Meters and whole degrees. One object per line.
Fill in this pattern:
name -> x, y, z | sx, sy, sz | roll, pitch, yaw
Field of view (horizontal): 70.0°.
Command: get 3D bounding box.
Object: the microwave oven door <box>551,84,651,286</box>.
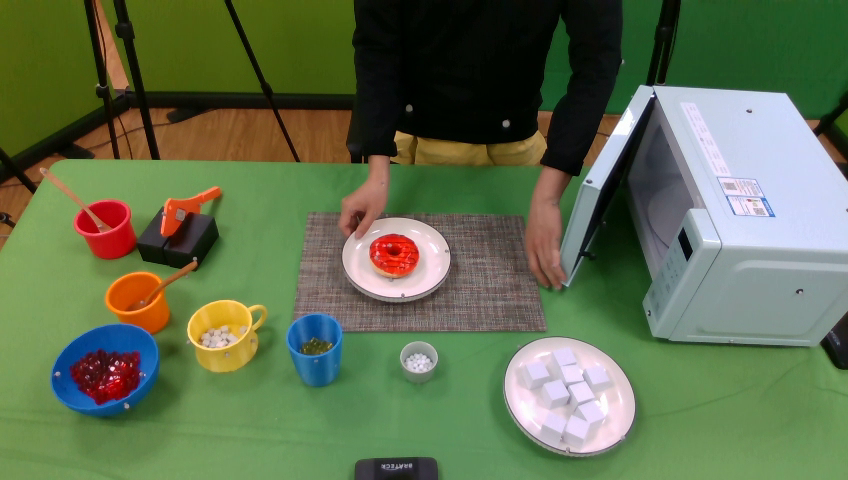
microwave oven door -> 0.343, -0.112, 1.153 | 0.039, 0.245, 0.355 | 24, 49, 18

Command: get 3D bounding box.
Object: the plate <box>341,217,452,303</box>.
plate -> -0.052, 0.039, 1.140 | 0.209, 0.038, 0.208 | 2, 46, -2

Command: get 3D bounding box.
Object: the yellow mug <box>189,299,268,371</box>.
yellow mug -> -0.316, 0.148, 1.002 | 0.131, 0.064, 0.099 | -32, 56, -31

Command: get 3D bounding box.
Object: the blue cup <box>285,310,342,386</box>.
blue cup -> -0.170, 0.179, 0.958 | 0.093, 0.101, 0.092 | 2, 44, -1

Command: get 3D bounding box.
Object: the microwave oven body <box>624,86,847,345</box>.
microwave oven body -> 0.568, -0.053, 1.118 | 0.326, 0.261, 0.439 | 2, 45, -1

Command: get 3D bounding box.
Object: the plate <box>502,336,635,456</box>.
plate -> 0.225, 0.248, 0.963 | 0.208, 0.039, 0.206 | 2, 46, -2

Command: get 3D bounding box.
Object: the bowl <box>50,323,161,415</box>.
bowl -> -0.472, 0.209, 0.924 | 0.151, 0.077, 0.150 | 2, 45, -2

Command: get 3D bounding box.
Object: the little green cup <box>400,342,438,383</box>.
little green cup -> -0.009, 0.202, 0.991 | 0.061, 0.039, 0.061 | 2, 47, -2

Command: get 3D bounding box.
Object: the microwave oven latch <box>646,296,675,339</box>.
microwave oven latch -> 0.412, 0.134, 1.061 | 0.030, 0.029, 0.078 | 4, 45, 1

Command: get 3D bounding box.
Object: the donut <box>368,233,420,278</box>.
donut -> -0.056, 0.030, 1.133 | 0.099, 0.048, 0.098 | 4, 46, -4

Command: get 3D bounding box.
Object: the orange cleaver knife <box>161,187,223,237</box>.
orange cleaver knife -> -0.448, -0.058, 1.181 | 0.012, 0.077, 0.211 | 13, 17, 6

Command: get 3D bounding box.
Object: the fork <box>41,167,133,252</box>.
fork -> -0.624, -0.056, 1.121 | 0.208, 0.018, 0.028 | 49, 52, -15

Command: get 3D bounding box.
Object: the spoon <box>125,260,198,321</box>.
spoon -> -0.434, 0.083, 1.000 | 0.022, 0.194, 0.041 | 35, 34, -34
